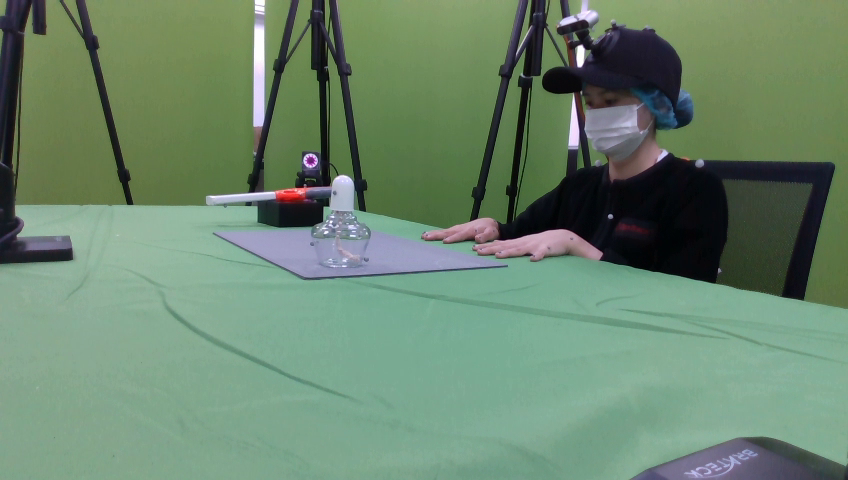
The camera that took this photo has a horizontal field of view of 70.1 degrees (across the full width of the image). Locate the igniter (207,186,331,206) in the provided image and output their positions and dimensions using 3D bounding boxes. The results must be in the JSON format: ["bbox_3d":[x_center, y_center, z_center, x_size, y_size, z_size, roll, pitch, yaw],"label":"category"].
[{"bbox_3d":[-0.300,-0.091,1.241,0.278,0.025,0.057,-8,11,-34],"label":"igniter"}]

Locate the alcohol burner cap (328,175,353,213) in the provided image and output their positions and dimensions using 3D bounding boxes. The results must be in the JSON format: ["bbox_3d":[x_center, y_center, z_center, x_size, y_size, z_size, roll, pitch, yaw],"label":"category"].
[{"bbox_3d":[-0.106,-0.059,0.774,0.034,0.048,0.034,5,8,0],"label":"alcohol burner cap"}]

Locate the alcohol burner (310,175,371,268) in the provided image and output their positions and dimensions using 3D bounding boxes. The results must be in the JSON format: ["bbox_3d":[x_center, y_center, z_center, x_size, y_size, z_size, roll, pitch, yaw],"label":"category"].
[{"bbox_3d":[-0.107,-0.024,0.778,0.078,0.119,0.078,3,5,0],"label":"alcohol burner"}]
